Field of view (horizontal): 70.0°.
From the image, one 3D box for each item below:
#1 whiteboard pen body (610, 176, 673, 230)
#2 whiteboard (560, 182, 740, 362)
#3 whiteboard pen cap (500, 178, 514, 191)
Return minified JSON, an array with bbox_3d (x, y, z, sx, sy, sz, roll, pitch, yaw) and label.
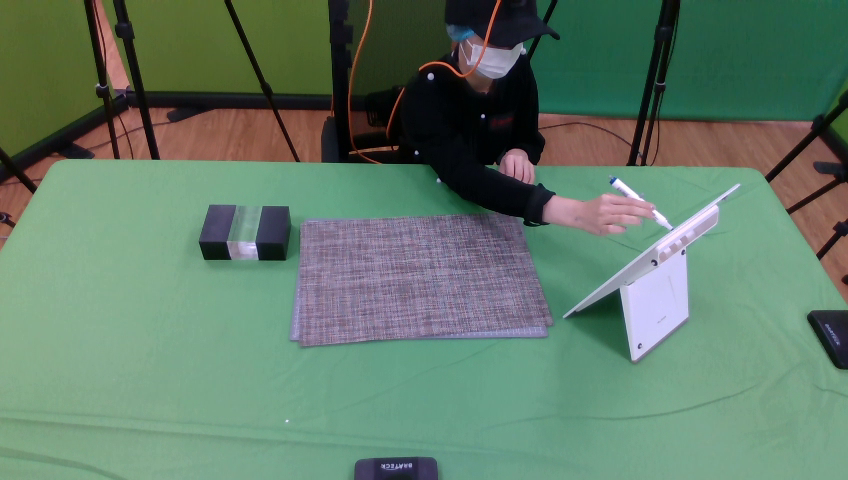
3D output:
[{"bbox_3d":[0.378,-0.061,1.047,0.140,0.017,0.017,41,53,3],"label":"whiteboard pen body"},{"bbox_3d":[0.406,0.075,1.001,0.217,0.306,0.143,-28,73,-28],"label":"whiteboard"},{"bbox_3d":[0.180,-0.120,1.316,0.033,0.018,0.018,-34,57,-27],"label":"whiteboard pen cap"}]
